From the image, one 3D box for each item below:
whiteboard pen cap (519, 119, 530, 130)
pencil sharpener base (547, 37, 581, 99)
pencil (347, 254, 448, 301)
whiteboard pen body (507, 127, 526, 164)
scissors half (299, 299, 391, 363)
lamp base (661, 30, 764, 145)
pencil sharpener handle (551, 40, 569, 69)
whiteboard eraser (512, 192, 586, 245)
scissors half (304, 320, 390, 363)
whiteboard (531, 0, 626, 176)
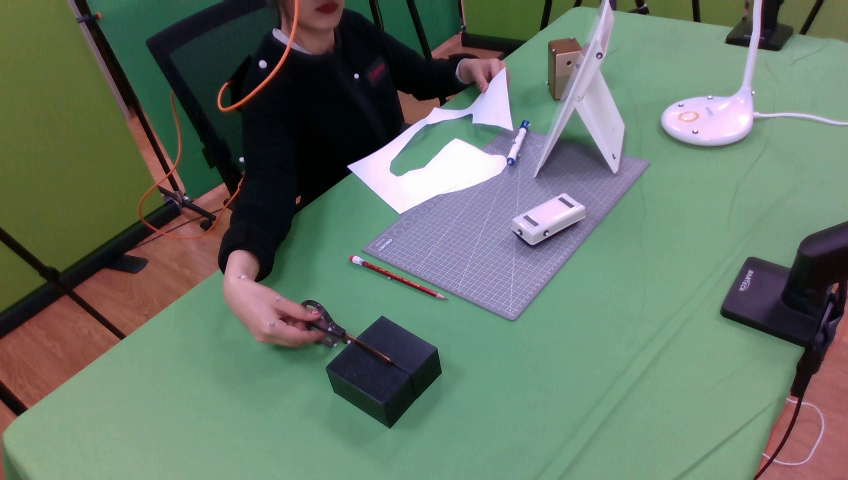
[{"bbox_3d":[0.199,-0.226,1.205,0.018,0.018,0.033,7,41,18],"label":"whiteboard pen cap"},{"bbox_3d":[0.299,-0.368,1.290,0.061,0.107,0.076,-8,40,2],"label":"pencil sharpener base"},{"bbox_3d":[-0.044,0.058,0.933,0.192,0.012,0.012,22,49,29],"label":"pencil"},{"bbox_3d":[0.181,-0.189,1.163,0.017,0.017,0.140,7,42,19],"label":"whiteboard pen body"},{"bbox_3d":[-0.107,0.120,0.793,0.174,0.040,0.013,27,47,33],"label":"scissors half"},{"bbox_3d":[0.535,-0.287,1.096,0.179,0.181,0.159,-10,40,-4],"label":"lamp base"},{"bbox_3d":[0.291,-0.409,1.320,0.036,0.068,0.030,2,40,-6],"label":"pencil sharpener handle"},{"bbox_3d":[0.199,-0.032,0.962,0.113,0.042,0.055,-27,43,-20],"label":"whiteboard eraser"},{"bbox_3d":[-0.104,0.138,0.803,0.174,0.040,0.013,8,30,45],"label":"scissors half"},{"bbox_3d":[0.320,-0.258,1.050,0.144,0.306,0.217,22,45,5],"label":"whiteboard"}]
